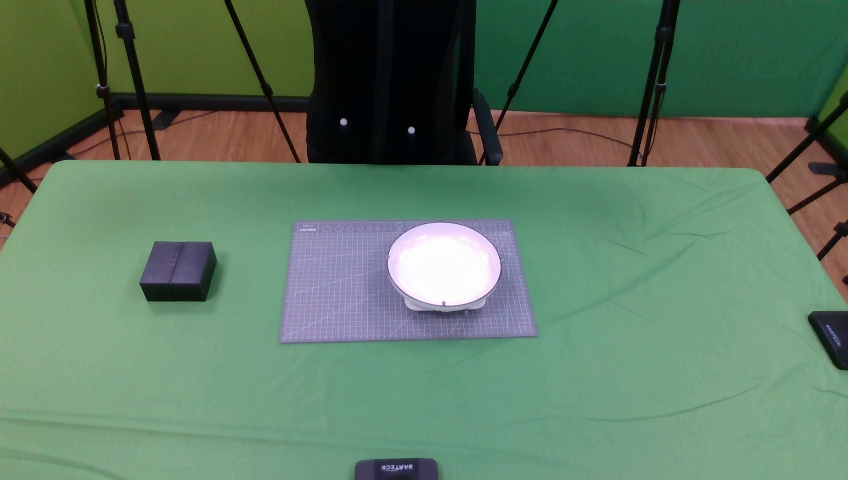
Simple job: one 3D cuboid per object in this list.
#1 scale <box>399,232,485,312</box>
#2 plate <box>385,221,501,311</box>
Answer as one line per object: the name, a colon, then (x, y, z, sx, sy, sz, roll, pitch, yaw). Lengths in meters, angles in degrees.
scale: (0.031, 0.050, 1.141, 0.149, 0.032, 0.199, -1, 46, -5)
plate: (0.034, 0.049, 1.096, 0.209, 0.038, 0.208, 2, 46, -2)
